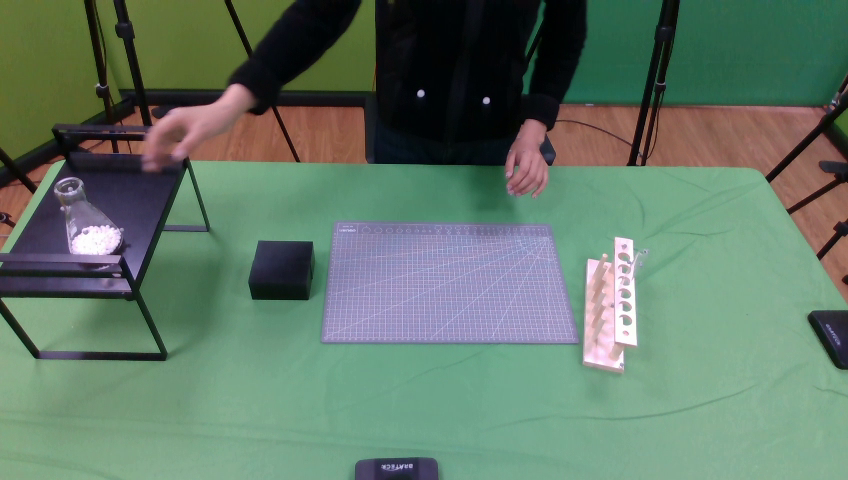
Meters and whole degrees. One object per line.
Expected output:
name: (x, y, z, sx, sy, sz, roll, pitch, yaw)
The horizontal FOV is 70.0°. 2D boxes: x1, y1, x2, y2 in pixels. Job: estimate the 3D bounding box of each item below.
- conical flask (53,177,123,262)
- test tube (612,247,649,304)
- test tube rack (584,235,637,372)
conical flask: (-0.490, -0.033, 0.872, 0.075, 0.122, 0.075, 1, 46, -1)
test tube: (0.352, 0.065, 1.044, 0.017, 0.151, 0.017, 3, 49, -4)
test tube rack: (0.329, 0.103, 1.073, 0.067, 0.085, 0.241, 11, 47, 7)
